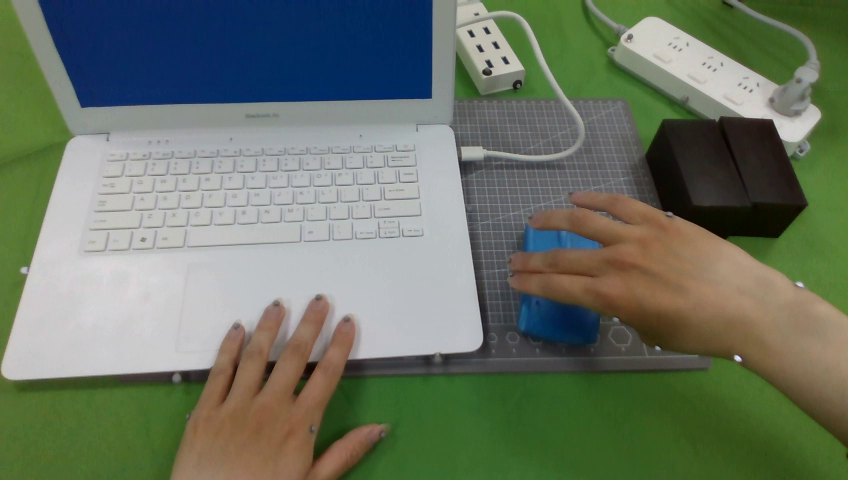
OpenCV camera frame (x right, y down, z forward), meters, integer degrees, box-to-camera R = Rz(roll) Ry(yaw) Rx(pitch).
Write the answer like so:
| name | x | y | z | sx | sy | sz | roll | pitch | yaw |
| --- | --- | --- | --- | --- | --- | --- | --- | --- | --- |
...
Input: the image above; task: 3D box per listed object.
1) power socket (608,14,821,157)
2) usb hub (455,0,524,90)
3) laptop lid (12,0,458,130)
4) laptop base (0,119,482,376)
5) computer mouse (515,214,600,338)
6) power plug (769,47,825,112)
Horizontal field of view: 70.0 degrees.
| name | x | y | z | sx | sy | sz | roll | pitch | yaw |
| --- | --- | --- | --- | --- | --- | --- | --- | --- | --- |
| power socket | 0.301 | -0.166 | 0.633 | 0.072 | 0.033 | 0.225 | -38 | 66 | -25 |
| usb hub | 0.060 | -0.215 | 0.656 | 0.049 | 0.025 | 0.124 | -15 | 59 | -12 |
| laptop lid | -0.147 | -0.192 | 0.492 | 0.357 | 0.244 | 0.013 | -4 | 43 | -4 |
| laptop base | -0.140 | -0.006 | 0.510 | 0.355 | 0.023 | 0.233 | -3 | 60 | -5 |
| computer mouse | 0.109 | 0.024 | 0.489 | 0.063 | 0.041 | 0.116 | 9 | 52 | 5 |
| power plug | 0.374 | -0.150 | 0.599 | 0.072 | 0.053 | 0.035 | -30 | 61 | -19 |
